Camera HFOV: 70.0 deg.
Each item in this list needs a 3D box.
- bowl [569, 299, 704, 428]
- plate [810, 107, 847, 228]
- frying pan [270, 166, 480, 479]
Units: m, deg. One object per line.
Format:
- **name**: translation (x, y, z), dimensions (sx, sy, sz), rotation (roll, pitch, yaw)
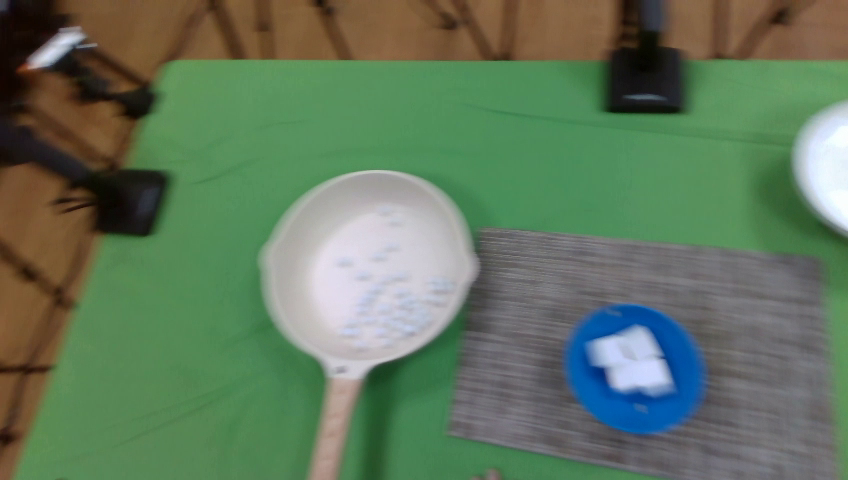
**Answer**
- **bowl**: translation (0.251, 0.156, 0.733), dimensions (0.151, 0.077, 0.150), rotation (-5, 66, 11)
- **plate**: translation (0.583, -0.080, 0.738), dimensions (0.207, 0.039, 0.206), rotation (-5, 67, 11)
- **frying pan**: translation (-0.088, 0.122, 0.813), dimensions (0.306, 0.104, 0.484), rotation (4, 59, 15)
